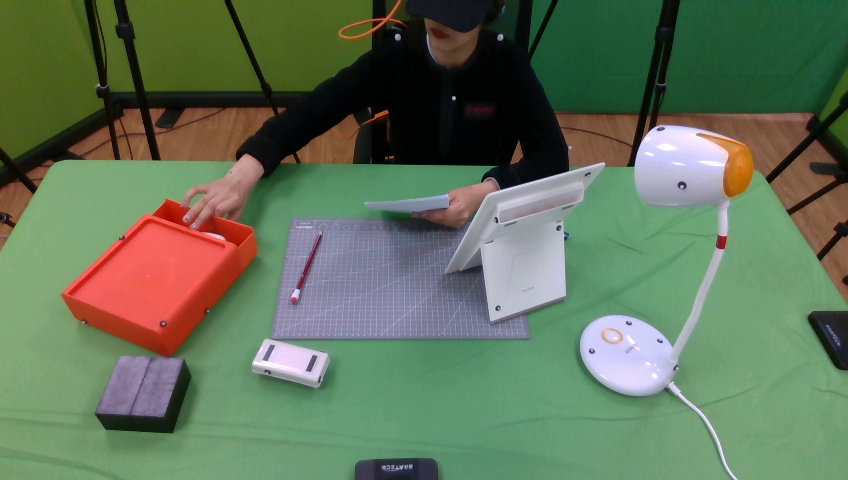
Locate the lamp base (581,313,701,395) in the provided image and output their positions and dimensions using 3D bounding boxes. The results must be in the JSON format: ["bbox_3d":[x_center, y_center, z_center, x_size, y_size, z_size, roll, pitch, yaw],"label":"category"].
[{"bbox_3d":[0.361,0.144,0.973,0.178,0.181,0.160,34,53,23],"label":"lamp base"}]

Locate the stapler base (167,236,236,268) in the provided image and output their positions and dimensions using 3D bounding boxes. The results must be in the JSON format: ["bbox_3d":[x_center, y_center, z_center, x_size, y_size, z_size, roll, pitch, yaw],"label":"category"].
[{"bbox_3d":[-0.416,0.017,1.137,0.130,0.024,0.041,17,31,11],"label":"stapler base"}]

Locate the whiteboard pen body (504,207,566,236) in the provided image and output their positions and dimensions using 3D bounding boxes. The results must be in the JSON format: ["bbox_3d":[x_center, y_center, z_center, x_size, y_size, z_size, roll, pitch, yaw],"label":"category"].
[{"bbox_3d":[0.228,-0.037,1.247,0.140,0.017,0.017,25,49,24],"label":"whiteboard pen body"}]

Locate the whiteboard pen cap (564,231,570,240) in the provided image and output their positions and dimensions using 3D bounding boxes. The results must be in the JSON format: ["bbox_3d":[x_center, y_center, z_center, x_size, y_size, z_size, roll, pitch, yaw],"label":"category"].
[{"bbox_3d":[0.276,-0.014,1.223,0.033,0.018,0.018,30,51,19],"label":"whiteboard pen cap"}]

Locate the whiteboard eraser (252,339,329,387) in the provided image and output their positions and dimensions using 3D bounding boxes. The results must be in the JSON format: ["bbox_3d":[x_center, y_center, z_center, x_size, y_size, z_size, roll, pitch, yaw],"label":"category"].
[{"bbox_3d":[-0.215,0.199,0.976,0.112,0.042,0.055,12,45,7],"label":"whiteboard eraser"}]

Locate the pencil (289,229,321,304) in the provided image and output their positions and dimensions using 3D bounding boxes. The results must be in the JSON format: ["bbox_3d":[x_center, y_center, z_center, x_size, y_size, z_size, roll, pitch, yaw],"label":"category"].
[{"bbox_3d":[-0.221,0.045,1.141,0.012,0.012,0.193,8,44,4],"label":"pencil"}]

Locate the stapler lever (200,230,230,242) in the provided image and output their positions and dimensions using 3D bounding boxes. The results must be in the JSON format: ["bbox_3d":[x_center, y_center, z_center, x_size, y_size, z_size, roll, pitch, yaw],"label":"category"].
[{"bbox_3d":[-0.415,-0.005,1.123,0.118,0.040,0.027,15,31,12],"label":"stapler lever"}]

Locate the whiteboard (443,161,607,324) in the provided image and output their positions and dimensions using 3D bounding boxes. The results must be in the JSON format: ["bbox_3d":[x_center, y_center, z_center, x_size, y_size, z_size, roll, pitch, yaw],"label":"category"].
[{"bbox_3d":[0.185,0.026,1.028,0.217,0.306,0.143,-15,68,-18],"label":"whiteboard"}]

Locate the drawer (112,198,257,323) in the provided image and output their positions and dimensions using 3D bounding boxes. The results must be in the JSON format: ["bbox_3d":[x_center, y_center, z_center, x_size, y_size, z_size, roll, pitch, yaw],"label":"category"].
[{"bbox_3d":[-0.443,0.036,1.087,0.194,0.073,0.211,19,48,13],"label":"drawer"}]

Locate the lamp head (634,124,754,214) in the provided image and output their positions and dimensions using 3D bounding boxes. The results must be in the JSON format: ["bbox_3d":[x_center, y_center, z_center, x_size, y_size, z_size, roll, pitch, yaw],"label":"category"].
[{"bbox_3d":[0.351,-0.089,0.776,0.112,0.113,0.122,-30,30,-28],"label":"lamp head"}]

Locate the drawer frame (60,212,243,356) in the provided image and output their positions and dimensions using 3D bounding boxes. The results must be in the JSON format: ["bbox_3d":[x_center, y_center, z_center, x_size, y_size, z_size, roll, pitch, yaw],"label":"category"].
[{"bbox_3d":[-0.462,0.070,1.053,0.201,0.083,0.213,18,48,12],"label":"drawer frame"}]
